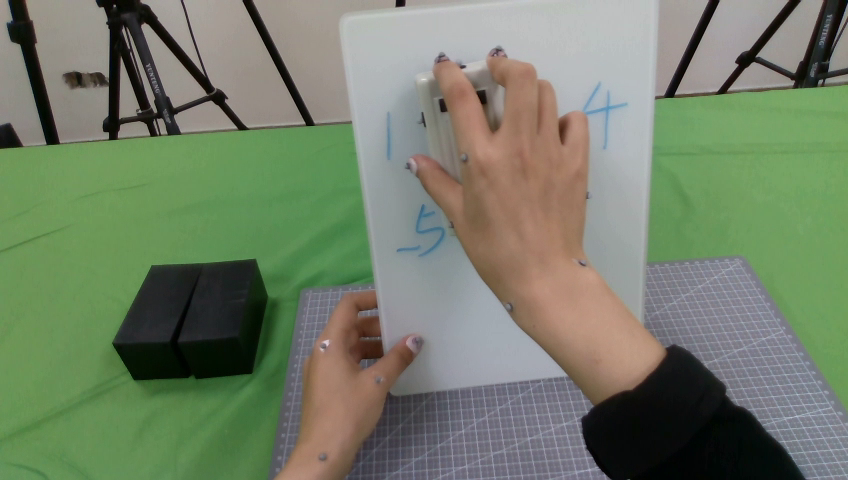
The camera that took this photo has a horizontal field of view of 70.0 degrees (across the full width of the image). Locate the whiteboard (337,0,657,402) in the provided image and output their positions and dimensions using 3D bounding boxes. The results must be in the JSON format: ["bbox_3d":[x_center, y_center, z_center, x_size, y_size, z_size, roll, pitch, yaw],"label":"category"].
[{"bbox_3d":[0.060,-0.042,0.518,0.217,0.307,0.143,-6,21,-1],"label":"whiteboard"}]

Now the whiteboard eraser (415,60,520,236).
[{"bbox_3d":[0.031,-0.062,0.417,0.055,0.113,0.041,-13,20,-2],"label":"whiteboard eraser"}]
